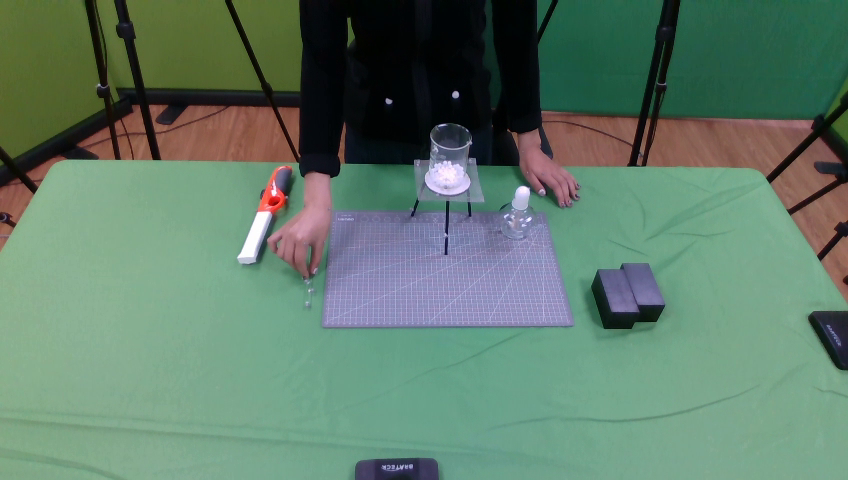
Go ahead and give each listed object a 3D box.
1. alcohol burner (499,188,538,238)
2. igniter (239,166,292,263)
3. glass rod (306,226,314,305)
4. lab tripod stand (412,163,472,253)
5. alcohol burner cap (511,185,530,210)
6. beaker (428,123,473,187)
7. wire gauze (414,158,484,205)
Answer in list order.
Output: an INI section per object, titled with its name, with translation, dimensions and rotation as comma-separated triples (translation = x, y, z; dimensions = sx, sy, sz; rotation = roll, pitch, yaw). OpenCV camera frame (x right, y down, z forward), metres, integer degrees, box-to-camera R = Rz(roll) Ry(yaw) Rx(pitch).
[alcohol burner]
translation = 0.189, -0.060, 1.202
dimensions = 0.078, 0.120, 0.077
rotation = 1, 48, -1
[igniter]
translation = -0.318, -0.060, 1.229
dimensions = 0.057, 0.025, 0.275
rotation = -2, 45, 9
[glass rod]
translation = -0.216, 0.043, 1.148
dimensions = 0.008, 0.008, 0.198
rotation = -2, 46, -5
[lab tripod stand]
translation = 0.043, -0.070, 1.187
dimensions = 0.148, 0.132, 0.147
rotation = 3, 47, -3
[alcohol burner cap]
translation = 0.190, -0.085, 1.176
dimensions = 0.034, 0.048, 0.033
rotation = 3, 50, -3
[beaker]
translation = 0.044, -0.154, 1.109
dimensions = 0.074, 0.101, 0.083
rotation = -25, 54, -25
[wire gauze]
translation = 0.045, -0.113, 1.137
dimensions = 0.125, 0.011, 0.120
rotation = 2, 48, -6
